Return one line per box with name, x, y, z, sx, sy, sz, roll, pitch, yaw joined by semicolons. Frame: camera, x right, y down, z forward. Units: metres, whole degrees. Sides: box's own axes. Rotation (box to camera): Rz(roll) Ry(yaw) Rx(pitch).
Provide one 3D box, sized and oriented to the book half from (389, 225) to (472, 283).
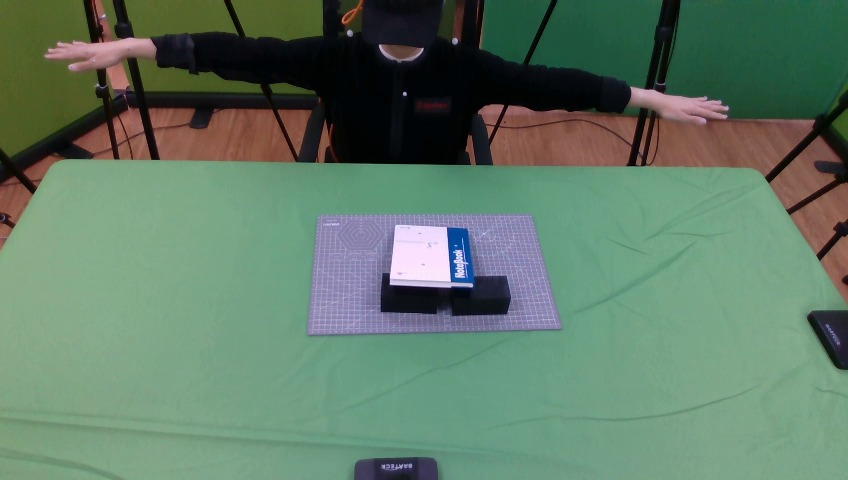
book half;0.012;0.022;1.128;0.143;0.007;0.209;3;28;-1
